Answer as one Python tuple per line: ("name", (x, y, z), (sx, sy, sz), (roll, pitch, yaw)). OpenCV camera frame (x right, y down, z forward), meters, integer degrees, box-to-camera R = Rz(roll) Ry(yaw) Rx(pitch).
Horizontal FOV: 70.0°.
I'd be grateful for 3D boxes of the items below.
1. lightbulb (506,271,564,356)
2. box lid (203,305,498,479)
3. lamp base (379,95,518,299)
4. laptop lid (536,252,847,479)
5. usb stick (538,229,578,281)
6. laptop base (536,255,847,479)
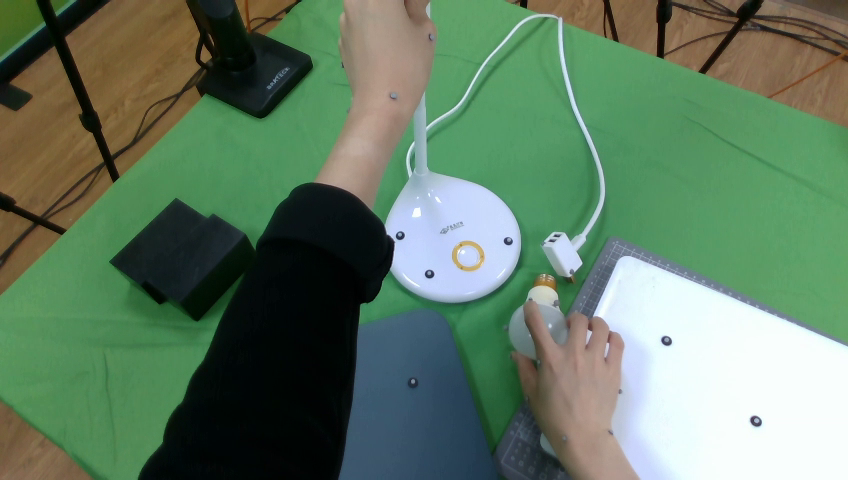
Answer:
("lightbulb", (0.120, 0.073, 0.638), (0.059, 0.060, 0.107), (11, 45, 9))
("box lid", (-0.059, 0.249, 0.566), (0.263, 0.015, 0.368), (-15, 62, -6))
("lamp base", (0.017, -0.052, 0.637), (0.160, 0.182, 0.177), (-34, 62, -16))
("laptop lid", (0.312, 0.171, 0.579), (0.355, 0.013, 0.241), (26, 67, 16))
("usb stick", (0.151, 0.018, 0.669), (0.027, 0.059, 0.021), (-40, 24, -24))
("laptop base", (0.314, 0.176, 0.592), (0.352, 0.023, 0.234), (24, 67, 15))
